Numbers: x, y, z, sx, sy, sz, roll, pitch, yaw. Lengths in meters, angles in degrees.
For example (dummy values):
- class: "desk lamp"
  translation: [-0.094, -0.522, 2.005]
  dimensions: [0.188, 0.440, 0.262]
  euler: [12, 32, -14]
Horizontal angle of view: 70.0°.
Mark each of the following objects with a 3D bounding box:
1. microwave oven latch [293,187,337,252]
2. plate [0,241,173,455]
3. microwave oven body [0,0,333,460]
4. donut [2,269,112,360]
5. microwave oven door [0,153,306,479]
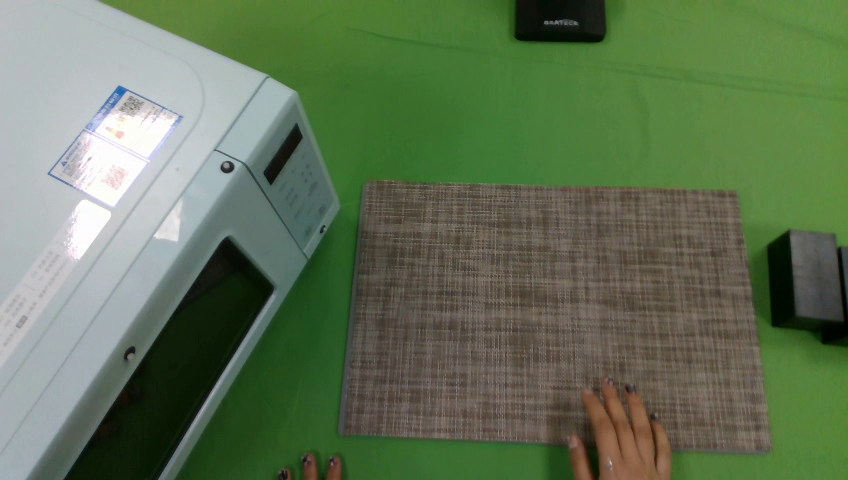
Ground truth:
- class: "microwave oven latch"
  translation: [-0.129, -0.027, 0.696]
  dimensions: [0.030, 0.030, 0.079]
  euler: [26, 73, 9]
- class: "plate"
  translation: [-0.338, 0.103, 0.594]
  dimensions: [0.209, 0.038, 0.207]
  euler: [-4, 68, 9]
- class: "microwave oven body"
  translation: [-0.345, 0.026, 0.578]
  dimensions: [0.325, 0.262, 0.440]
  euler: [25, 73, 9]
- class: "donut"
  translation: [-0.367, 0.074, 0.610]
  dimensions: [0.099, 0.048, 0.098]
  euler: [3, 54, -3]
- class: "microwave oven door"
  translation: [-0.233, 0.121, 0.536]
  dimensions: [0.039, 0.245, 0.354]
  euler: [25, 73, 11]
